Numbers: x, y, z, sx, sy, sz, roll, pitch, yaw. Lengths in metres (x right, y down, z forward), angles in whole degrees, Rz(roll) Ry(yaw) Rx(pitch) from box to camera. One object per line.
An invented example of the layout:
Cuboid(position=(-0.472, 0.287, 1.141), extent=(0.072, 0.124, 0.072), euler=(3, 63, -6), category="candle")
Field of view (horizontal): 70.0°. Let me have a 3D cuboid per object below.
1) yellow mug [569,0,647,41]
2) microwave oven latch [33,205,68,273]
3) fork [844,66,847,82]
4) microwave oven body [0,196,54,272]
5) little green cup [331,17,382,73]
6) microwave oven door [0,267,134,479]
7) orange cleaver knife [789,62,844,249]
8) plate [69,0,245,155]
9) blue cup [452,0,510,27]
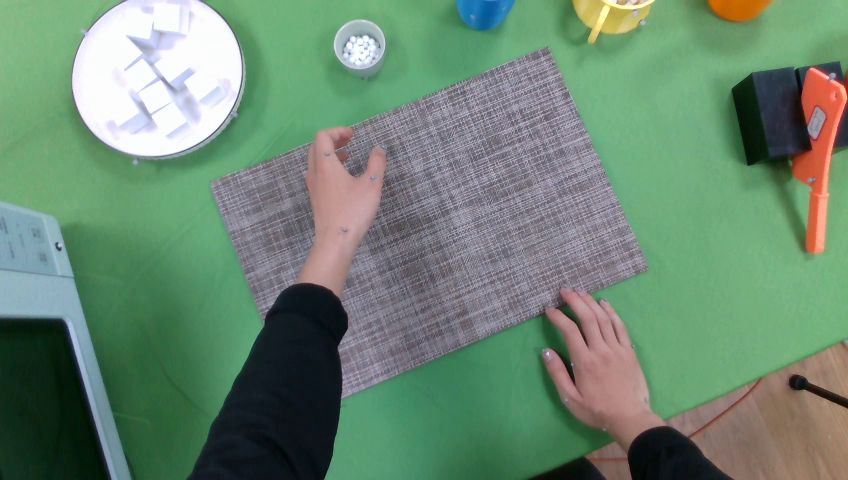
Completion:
Cuboid(position=(0.224, -0.301, 0.730), extent=(0.100, 0.064, 0.130), euler=(25, 86, 3), category="yellow mug")
Cuboid(position=(-0.439, 0.001, 0.698), extent=(0.030, 0.029, 0.079), euler=(-18, 85, -2), category="microwave oven latch")
Cuboid(position=(0.595, -0.200, 0.678), extent=(0.206, 0.019, 0.028), euler=(1, 80, 43), category="fork")
Cuboid(position=(-0.521, 0.204, 0.581), extent=(0.326, 0.260, 0.440), euler=(-20, 85, -2), category="microwave oven body")
Cuboid(position=(-0.080, -0.235, 0.739), extent=(0.061, 0.039, 0.061), euler=(0, 83, 1), category="little green cup")
Cuboid(position=(-0.369, 0.195, 0.576), extent=(0.039, 0.244, 0.354), euler=(-20, 84, -2), category="microwave oven door")
Cuboid(position=(0.446, -0.094, 0.699), extent=(0.012, 0.076, 0.213), euler=(-8, 113, 2), category="orange cleaver knife")
Cuboid(position=(-0.319, -0.202, 0.737), extent=(0.208, 0.039, 0.207), euler=(0, 84, 0), category="plate")
Cuboid(position=(0.069, -0.301, 0.714), extent=(0.092, 0.100, 0.092), euler=(0, 85, 0), category="blue cup")
